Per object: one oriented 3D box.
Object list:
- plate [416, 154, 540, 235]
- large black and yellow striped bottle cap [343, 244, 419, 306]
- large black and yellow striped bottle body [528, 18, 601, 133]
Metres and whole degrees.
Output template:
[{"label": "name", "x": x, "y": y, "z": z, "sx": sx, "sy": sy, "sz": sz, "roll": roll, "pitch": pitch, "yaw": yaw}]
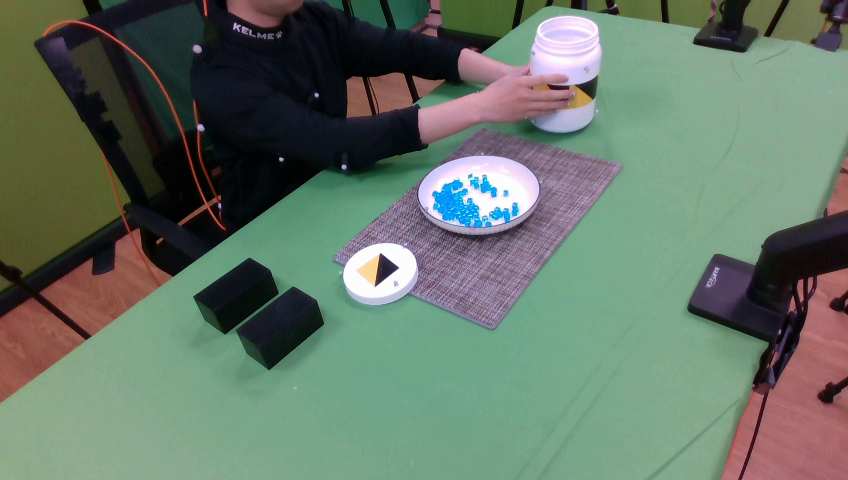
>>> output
[{"label": "plate", "x": 0.090, "y": -0.074, "z": 1.025, "sx": 0.207, "sy": 0.039, "sz": 0.206, "roll": -4, "pitch": 41, "yaw": 4}, {"label": "large black and yellow striped bottle cap", "x": -0.066, "y": 0.051, "z": 0.918, "sx": 0.115, "sy": 0.019, "sz": 0.114, "roll": -6, "pitch": 43, "yaw": 6}, {"label": "large black and yellow striped bottle body", "x": 0.266, "y": -0.314, "z": 1.155, "sx": 0.131, "sy": 0.185, "sz": 0.130, "roll": -4, "pitch": 44, "yaw": 4}]
